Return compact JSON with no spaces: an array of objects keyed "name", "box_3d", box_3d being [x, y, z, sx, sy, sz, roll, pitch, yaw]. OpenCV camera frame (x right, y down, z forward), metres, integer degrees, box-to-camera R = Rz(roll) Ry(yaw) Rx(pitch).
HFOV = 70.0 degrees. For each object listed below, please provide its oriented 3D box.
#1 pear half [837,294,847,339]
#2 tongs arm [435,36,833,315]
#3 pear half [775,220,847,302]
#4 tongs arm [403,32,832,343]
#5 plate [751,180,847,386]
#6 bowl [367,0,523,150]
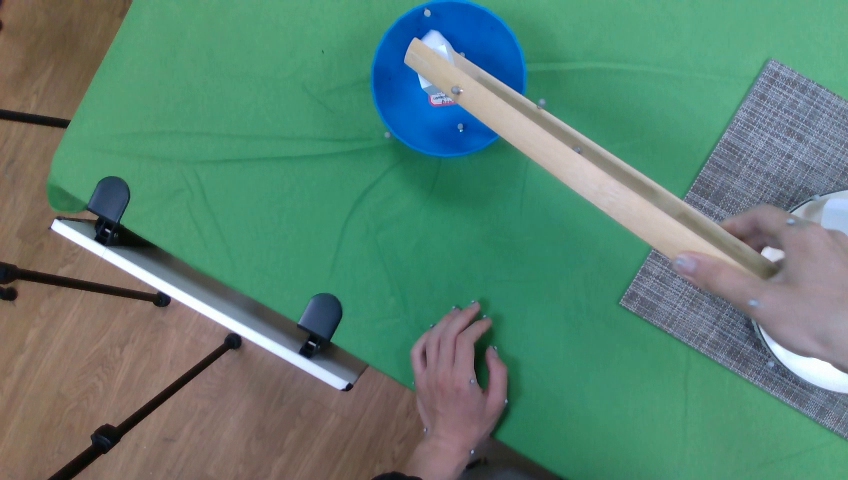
[{"name":"pear half","box_3d":[0.467,0.074,0.609,0.088,0.031,0.070,-27,94,9]},{"name":"tongs arm","box_3d":[0.136,-0.061,0.482,0.382,0.051,0.026,40,121,20]},{"name":"pear half","box_3d":[0.410,0.012,0.601,0.076,0.056,0.110,41,90,-3]},{"name":"tongs arm","box_3d":[0.119,-0.056,0.461,0.384,0.028,0.028,41,118,23]},{"name":"plate","box_3d":[0.430,0.042,0.615,0.207,0.039,0.207,0,92,4]},{"name":"bowl","box_3d":[0.022,-0.162,0.614,0.151,0.077,0.151,0,92,3]}]
